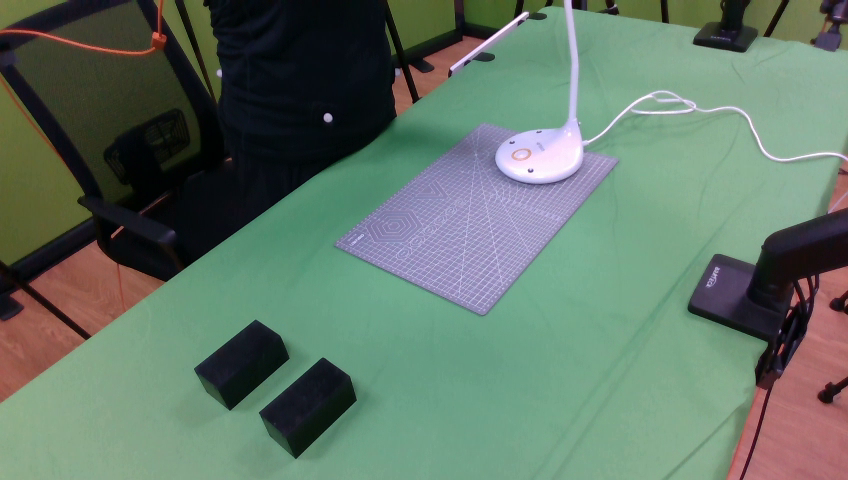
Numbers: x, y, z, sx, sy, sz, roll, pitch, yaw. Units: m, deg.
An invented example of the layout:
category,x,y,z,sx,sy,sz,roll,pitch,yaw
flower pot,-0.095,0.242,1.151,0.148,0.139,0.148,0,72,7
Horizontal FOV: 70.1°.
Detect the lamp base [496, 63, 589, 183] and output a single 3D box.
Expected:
category,x,y,z,sx,sy,sz,roll,pitch,yaw
lamp base,0.216,-0.217,1.067,0.180,0.181,0.159,-19,42,-18
